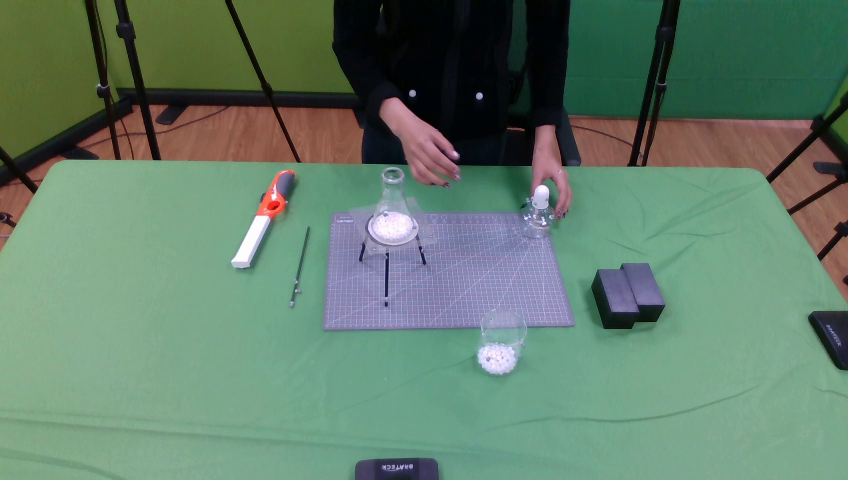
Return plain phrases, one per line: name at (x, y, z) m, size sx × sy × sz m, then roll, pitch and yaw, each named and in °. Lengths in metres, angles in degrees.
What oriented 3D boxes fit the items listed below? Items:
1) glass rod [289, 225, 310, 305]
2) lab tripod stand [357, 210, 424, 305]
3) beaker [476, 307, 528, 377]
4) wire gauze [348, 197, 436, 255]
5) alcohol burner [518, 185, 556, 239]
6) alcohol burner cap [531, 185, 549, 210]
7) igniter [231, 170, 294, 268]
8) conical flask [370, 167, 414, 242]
glass rod at (-0.235, 0.043, 1.149) m, size 0.008 × 0.008 × 0.198 m, roll 3°, pitch 46°, yaw -1°
lab tripod stand at (-0.060, 0.020, 1.094) m, size 0.148 × 0.132 × 0.147 m, roll 3°, pitch 44°, yaw -2°
beaker at (0.122, 0.171, 0.991) m, size 0.084 × 0.101 × 0.073 m, roll -34°, pitch 56°, yaw -31°
wire gauze at (-0.056, -0.025, 1.046) m, size 0.125 × 0.011 × 0.120 m, roll -13°, pitch 46°, yaw -15°
alcohol burner at (0.227, -0.061, 1.209) m, size 0.078 × 0.120 × 0.077 m, roll 1°, pitch 44°, yaw -1°
alcohol burner cap at (0.228, -0.085, 1.183) m, size 0.034 × 0.048 × 0.033 m, roll -1°, pitch 48°, yaw 2°
igniter at (-0.321, -0.051, 1.220) m, size 0.057 × 0.025 × 0.275 m, roll 1°, pitch 45°, yaw 12°
conical flask at (-0.053, -0.062, 1.000) m, size 0.075 × 0.122 × 0.075 m, roll 2°, pitch 44°, yaw -2°
